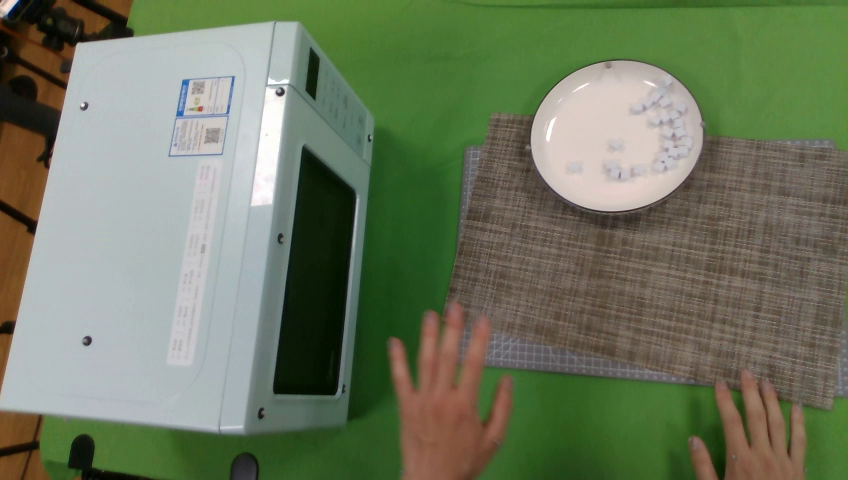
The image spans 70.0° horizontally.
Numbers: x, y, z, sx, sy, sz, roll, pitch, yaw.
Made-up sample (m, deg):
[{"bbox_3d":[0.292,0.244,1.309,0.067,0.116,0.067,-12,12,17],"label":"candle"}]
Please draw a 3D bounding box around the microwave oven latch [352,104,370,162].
[{"bbox_3d":[-0.093,-0.150,0.850,0.030,0.030,0.079,0,77,15],"label":"microwave oven latch"}]

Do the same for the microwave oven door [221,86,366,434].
[{"bbox_3d":[-0.138,0.037,0.707,0.039,0.245,0.354,0,76,16],"label":"microwave oven door"}]

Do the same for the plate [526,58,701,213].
[{"bbox_3d":[0.237,-0.130,0.768,0.208,0.038,0.208,-4,74,14],"label":"plate"}]

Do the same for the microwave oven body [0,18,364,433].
[{"bbox_3d":[-0.274,-0.002,0.760,0.325,0.262,0.439,0,77,15],"label":"microwave oven body"}]

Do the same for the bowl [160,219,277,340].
[{"bbox_3d":[-0.245,0.056,0.770,0.151,0.077,0.150,-4,74,14],"label":"bowl"}]
